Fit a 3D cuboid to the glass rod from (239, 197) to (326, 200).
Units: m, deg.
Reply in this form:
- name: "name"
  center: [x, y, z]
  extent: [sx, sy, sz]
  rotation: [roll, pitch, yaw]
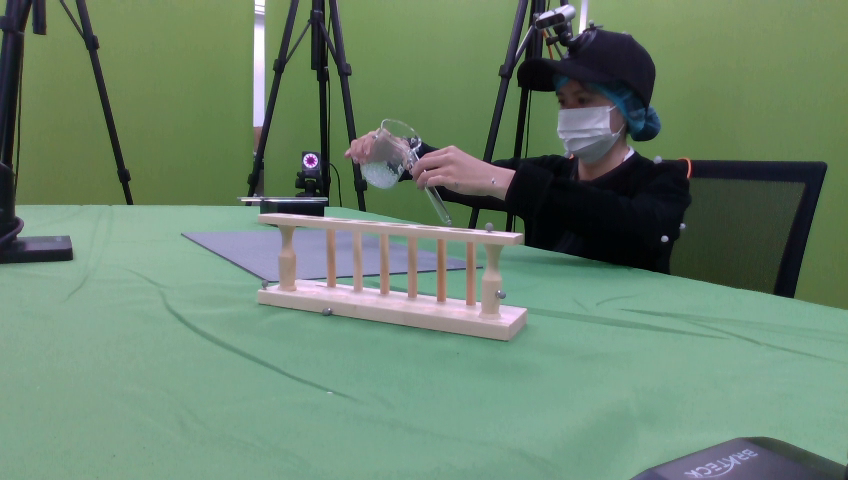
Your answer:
- name: "glass rod"
  center: [-0.288, -0.087, 1.250]
  extent: [0.201, 0.008, 0.008]
  rotation: [-4, 10, -42]

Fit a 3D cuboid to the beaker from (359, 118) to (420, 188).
- name: "beaker"
  center: [-0.060, -0.142, 1.023]
  extent: [0.074, 0.100, 0.083]
  rotation: [0, 49, -37]

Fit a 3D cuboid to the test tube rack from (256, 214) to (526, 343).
- name: "test tube rack"
  center: [-0.032, 0.027, 0.547]
  extent: [0.241, 0.085, 0.067]
  rotation: [5, 7, 22]

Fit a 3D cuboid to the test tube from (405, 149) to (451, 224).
- name: "test tube"
  center: [0.006, -0.084, 0.941]
  extent: [0.017, 0.017, 0.149]
  rotation: [-3, 53, -37]
